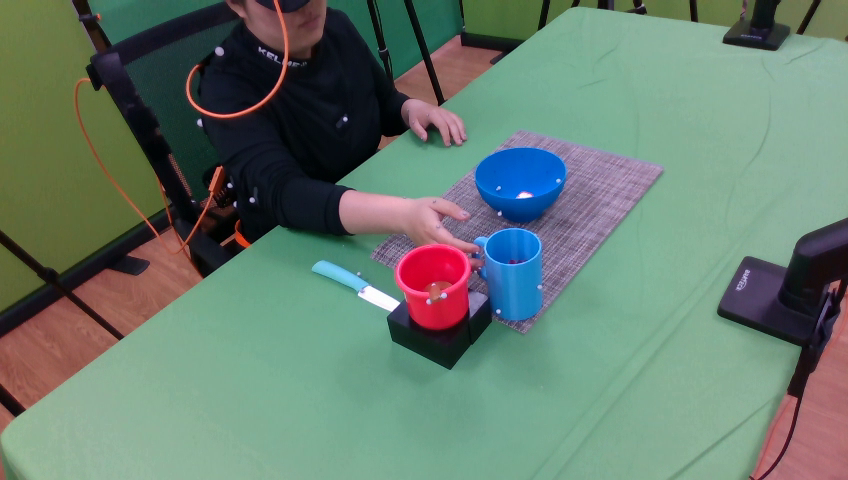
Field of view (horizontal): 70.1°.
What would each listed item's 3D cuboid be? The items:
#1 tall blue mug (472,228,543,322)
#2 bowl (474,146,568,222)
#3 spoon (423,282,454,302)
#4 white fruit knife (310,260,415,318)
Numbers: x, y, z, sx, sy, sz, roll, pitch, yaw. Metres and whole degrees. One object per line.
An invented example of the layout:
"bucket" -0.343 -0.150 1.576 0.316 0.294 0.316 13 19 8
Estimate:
"tall blue mug" 0.110 0.046 0.832 0.107 0.108 0.077 6 43 18
"bowl" 0.161 -0.083 1.001 0.151 0.077 0.150 -5 40 5
"spoon" 0.015 0.062 0.733 0.041 0.021 0.194 -5 -4 3
"white fruit knife" -0.094 0.074 0.919 0.206 0.016 0.027 24 76 30
